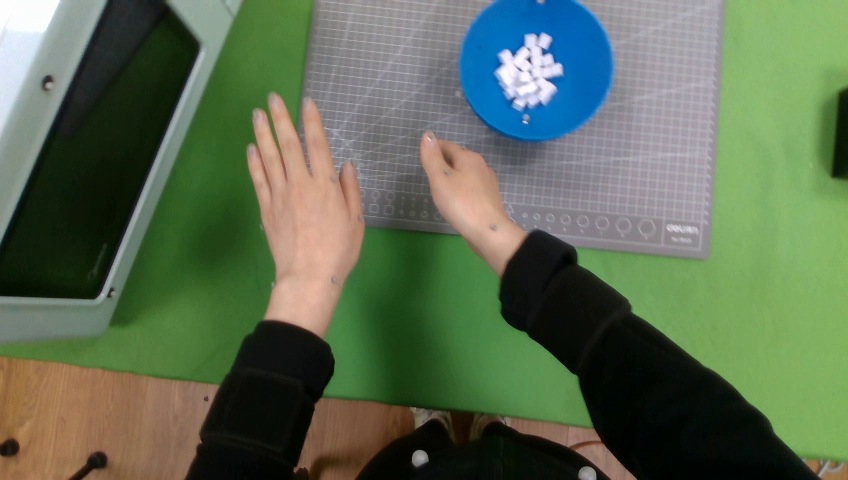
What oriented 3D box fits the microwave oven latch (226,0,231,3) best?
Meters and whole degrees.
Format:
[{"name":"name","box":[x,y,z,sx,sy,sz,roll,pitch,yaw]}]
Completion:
[{"name":"microwave oven latch","box":[-0.202,-0.291,0.629,0.030,0.029,0.079,21,86,1]}]

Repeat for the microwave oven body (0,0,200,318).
[{"name":"microwave oven body","box":[-0.401,-0.184,0.522,0.326,0.260,0.441,19,86,1]}]

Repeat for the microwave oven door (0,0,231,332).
[{"name":"microwave oven door","box":[-0.277,-0.095,0.511,0.039,0.244,0.355,19,85,2]}]

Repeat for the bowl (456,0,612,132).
[{"name":"bowl","box":[0.106,-0.176,0.618,0.151,0.077,0.151,0,85,0]}]
